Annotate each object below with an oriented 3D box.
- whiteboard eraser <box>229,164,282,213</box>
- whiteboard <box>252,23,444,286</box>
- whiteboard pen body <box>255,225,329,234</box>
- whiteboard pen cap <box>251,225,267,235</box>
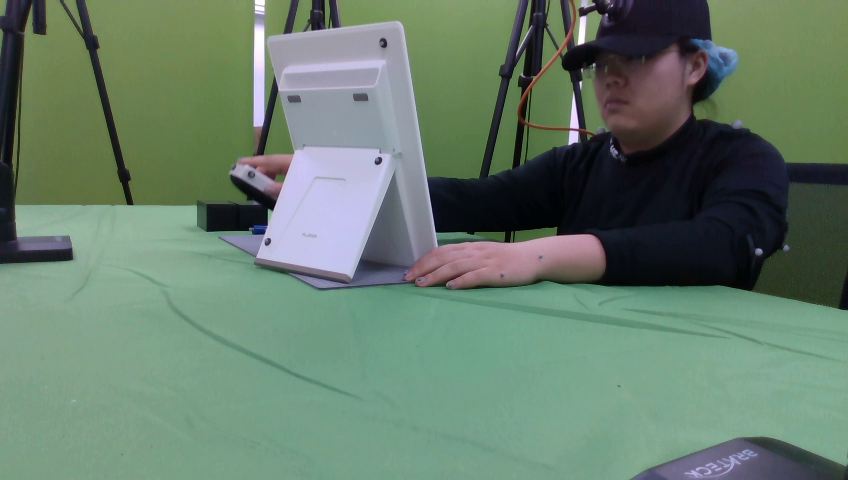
[{"bbox_3d":[-0.244,-0.072,0.933,0.113,0.042,0.055,36,-5,-36],"label":"whiteboard eraser"},{"bbox_3d":[-0.125,-0.080,0.715,0.216,0.305,0.144,8,29,36],"label":"whiteboard"},{"bbox_3d":[-0.239,-0.019,1.105,0.141,0.017,0.017,-1,8,-33],"label":"whiteboard pen body"},{"bbox_3d":[-0.288,-0.019,1.071,0.033,0.018,0.018,-3,9,-34],"label":"whiteboard pen cap"}]
